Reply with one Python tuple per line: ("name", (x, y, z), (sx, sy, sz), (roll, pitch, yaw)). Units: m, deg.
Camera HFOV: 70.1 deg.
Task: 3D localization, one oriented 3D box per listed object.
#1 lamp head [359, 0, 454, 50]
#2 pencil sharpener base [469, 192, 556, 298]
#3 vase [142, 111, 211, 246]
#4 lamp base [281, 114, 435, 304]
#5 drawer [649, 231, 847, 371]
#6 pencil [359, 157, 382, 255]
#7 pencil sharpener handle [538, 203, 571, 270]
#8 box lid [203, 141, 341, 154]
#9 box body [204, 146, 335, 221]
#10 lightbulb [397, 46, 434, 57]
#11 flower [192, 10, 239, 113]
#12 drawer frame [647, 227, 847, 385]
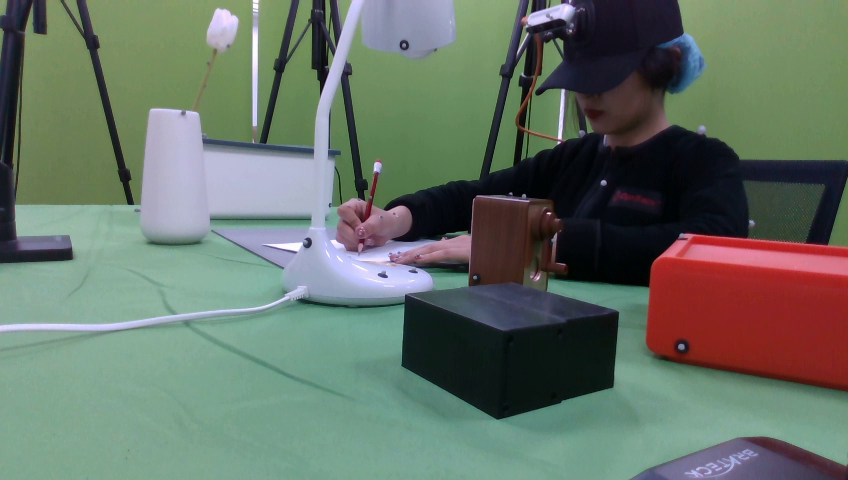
("lamp head", (-0.024, -0.282, 0.674), (0.112, 0.123, 0.112), (-3, 38, 3))
("pencil sharpener base", (0.097, 0.003, 0.652), (0.076, 0.107, 0.061), (8, 9, 38))
("vase", (-0.378, -0.093, 0.920), (0.098, 0.200, 0.098), (2, 9, 0))
("lamp base", (-0.071, -0.034, 0.614), (0.160, 0.180, 0.180), (6, 10, 27))
("drawer", (0.303, 0.043, 0.499), (0.194, 0.073, 0.212), (7, 9, 27))
("pencil", (-0.082, -0.055, 0.915), (0.012, 0.012, 0.193), (3, 52, 6))
("pencil sharpener handle", (0.137, -0.003, 0.619), (0.030, 0.067, 0.036), (8, 7, 38))
("box lid", (-0.396, -0.212, 1.373), (0.373, 0.015, 0.262), (-1, 9, -29))
("box body", (-0.410, -0.135, 1.386), (0.366, 0.160, 0.253), (-2, 9, -29))
("lightbulb", (-0.017, -0.264, 0.692), (0.059, 0.108, 0.059), (-9, 28, 5))
("flower", (-0.354, -0.174, 0.915), (0.038, 0.361, 0.044), (18, -3, 12))
("drawer frame", (0.303, 0.043, 0.495), (0.201, 0.082, 0.214), (6, 9, 26))
